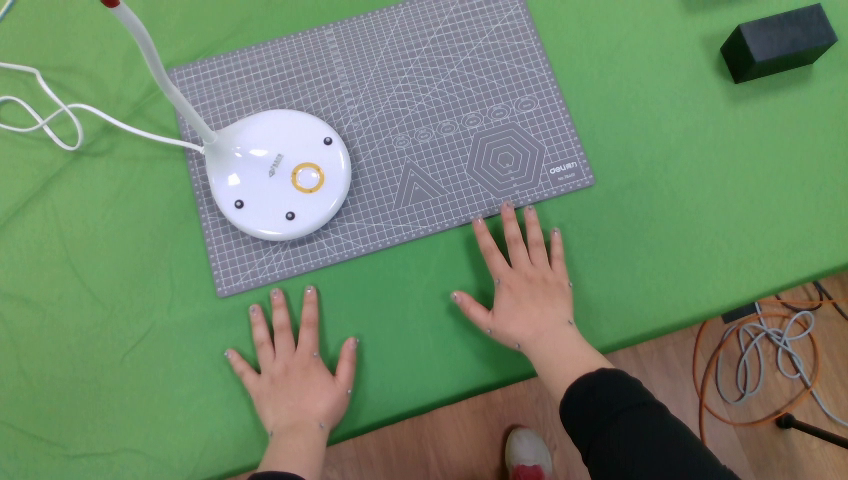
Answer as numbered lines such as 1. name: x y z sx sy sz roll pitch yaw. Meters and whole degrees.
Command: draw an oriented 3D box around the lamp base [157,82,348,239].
1. lamp base: -0.183 -0.099 0.626 0.179 0.181 0.160 9 76 7
